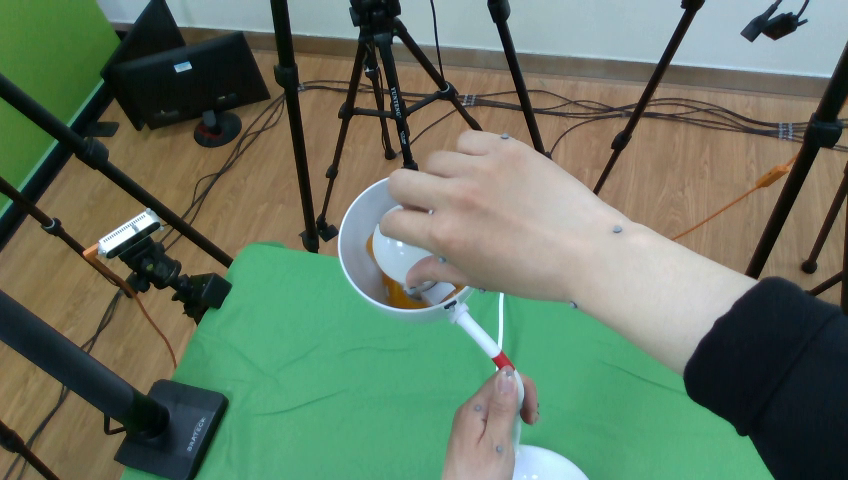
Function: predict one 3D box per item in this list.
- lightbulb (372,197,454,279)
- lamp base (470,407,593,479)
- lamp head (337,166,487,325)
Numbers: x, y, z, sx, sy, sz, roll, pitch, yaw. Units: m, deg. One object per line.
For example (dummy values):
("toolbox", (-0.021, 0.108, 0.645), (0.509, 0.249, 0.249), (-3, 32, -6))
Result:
("lightbulb", (-0.008, 0.006, 0.461), (0.059, 0.108, 0.059), (0, 73, 0))
("lamp base", (0.111, 0.262, 0.648), (0.161, 0.182, 0.177), (-24, 54, -9))
("lamp head", (-0.002, 0.018, 0.491), (0.112, 0.124, 0.111), (-3, 64, 6))
